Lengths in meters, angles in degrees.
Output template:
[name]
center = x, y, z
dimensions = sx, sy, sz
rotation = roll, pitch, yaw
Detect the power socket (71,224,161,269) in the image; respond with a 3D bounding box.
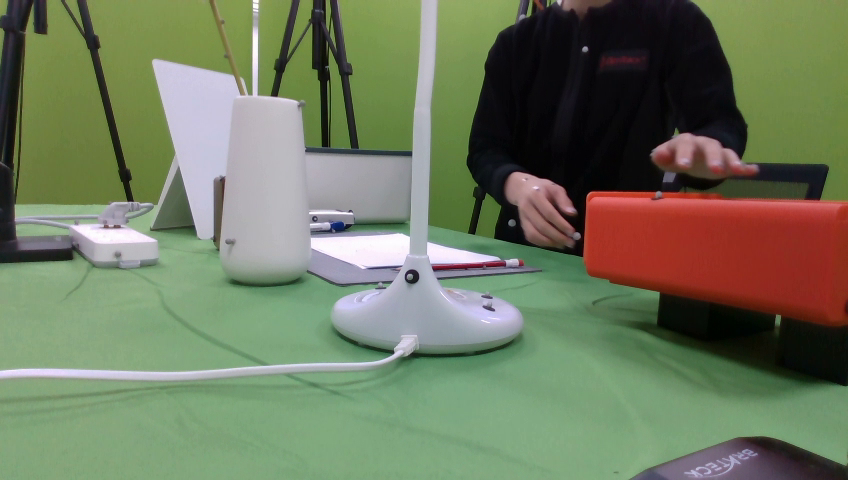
[power socket]
center = -0.408, 0.004, 0.793
dimensions = 0.072, 0.032, 0.225
rotation = -2, 8, -38

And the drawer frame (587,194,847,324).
[drawer frame]
center = 0.285, 0.004, 0.508
dimensions = 0.203, 0.082, 0.212
rotation = -1, 6, -29

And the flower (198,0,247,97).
[flower]
center = -0.187, -0.133, 0.648
dimensions = 0.038, 0.362, 0.044
rotation = -1, 22, 43

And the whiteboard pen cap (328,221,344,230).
[whiteboard pen cap]
center = -0.166, -0.027, 1.124
dimensions = 0.018, 0.018, 0.033
rotation = 9, 10, 41

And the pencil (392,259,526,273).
[pencil]
center = 0.049, 0.035, 0.782
dimensions = 0.195, 0.012, 0.012
rotation = -2, 9, -25

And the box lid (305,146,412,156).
[box lid]
center = -0.229, -0.200, 1.361
dimensions = 0.373, 0.015, 0.262
rotation = -3, 9, -32

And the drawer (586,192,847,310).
[drawer]
center = 0.281, 0.000, 0.513
dimensions = 0.195, 0.073, 0.210
rotation = -1, 7, -29

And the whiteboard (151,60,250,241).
[whiteboard]
center = -0.408, -0.139, 1.093
dimensions = 0.143, 0.305, 0.218
rotation = -15, 0, 26

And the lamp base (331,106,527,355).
[lamp base]
center = 0.006, -0.012, 0.478
dimensions = 0.161, 0.180, 0.179
rotation = 2, 10, 2

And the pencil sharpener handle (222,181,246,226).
[pencil sharpener handle]
center = -0.289, -0.055, 0.912
dimensions = 0.036, 0.067, 0.030
rotation = -3, 9, -29

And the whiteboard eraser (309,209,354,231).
[whiteboard eraser]
center = -0.196, -0.038, 1.167
dimensions = 0.113, 0.042, 0.055
rotation = -2, 7, -33

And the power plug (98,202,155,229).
[power plug]
center = -0.416, -0.027, 0.848
dimensions = 0.073, 0.052, 0.035
rotation = 0, 8, -28

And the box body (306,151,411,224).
[box body]
center = -0.230, -0.126, 1.371
dimensions = 0.366, 0.160, 0.253
rotation = -2, 8, -33

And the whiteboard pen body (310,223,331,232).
[whiteboard pen body]
center = -0.207, -0.021, 1.081
dimensions = 0.017, 0.017, 0.141
rotation = 9, 10, 41

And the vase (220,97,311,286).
[vase]
center = -0.172, -0.052, 0.662
dimensions = 0.098, 0.200, 0.098
rotation = 3, 8, 0

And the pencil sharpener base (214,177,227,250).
[pencil sharpener base]
center = -0.265, -0.036, 0.870
dimensions = 0.061, 0.107, 0.076
rotation = -2, 8, -29
